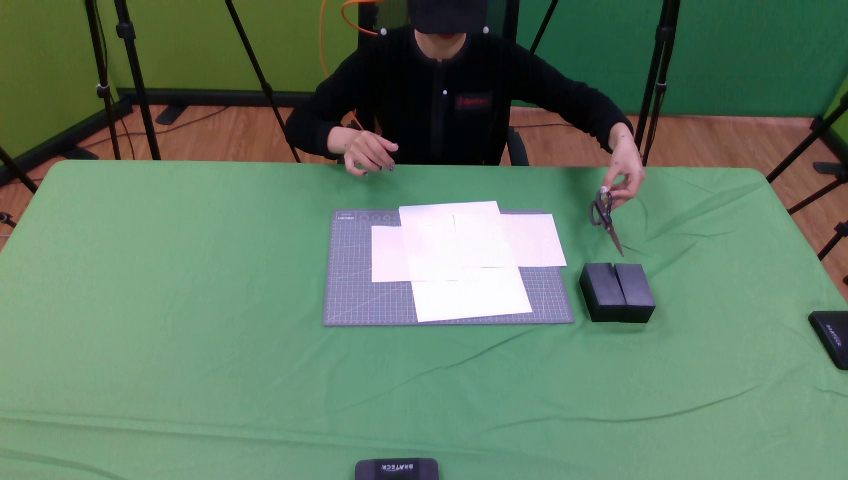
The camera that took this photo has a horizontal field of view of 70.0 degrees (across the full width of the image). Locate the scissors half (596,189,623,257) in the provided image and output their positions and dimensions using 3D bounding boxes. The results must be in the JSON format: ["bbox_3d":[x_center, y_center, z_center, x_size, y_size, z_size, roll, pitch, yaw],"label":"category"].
[{"bbox_3d":[0.357,-0.035,1.155,0.013,0.040,0.174,10,48,-13],"label":"scissors half"}]

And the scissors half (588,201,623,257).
[{"bbox_3d":[0.350,-0.020,1.167,0.013,0.040,0.174,14,30,-16],"label":"scissors half"}]
